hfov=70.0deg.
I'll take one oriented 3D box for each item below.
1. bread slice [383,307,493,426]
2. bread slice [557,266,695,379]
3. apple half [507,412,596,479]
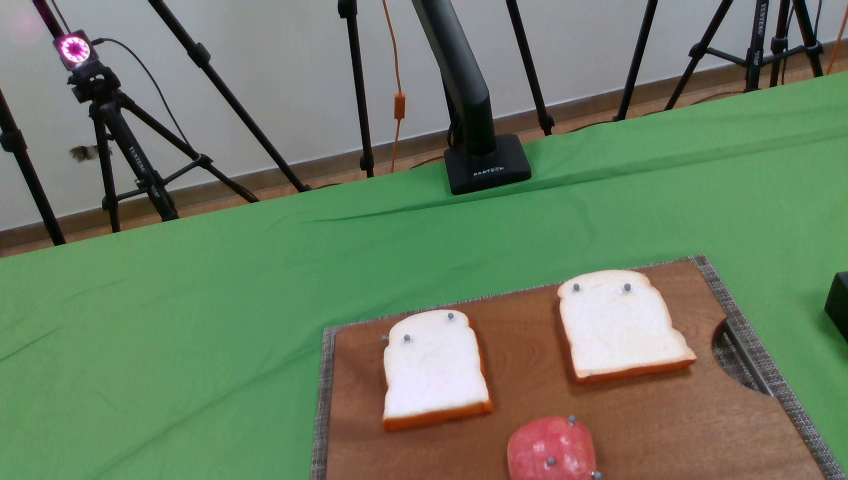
[{"bbox_3d":[0.007,0.121,0.609,0.105,0.019,0.130,-11,40,3],"label":"bread slice"},{"bbox_3d":[0.187,0.077,0.601,0.107,0.018,0.133,-13,39,3],"label":"bread slice"},{"bbox_3d":[0.105,0.171,0.505,0.081,0.033,0.080,-7,41,6],"label":"apple half"}]
